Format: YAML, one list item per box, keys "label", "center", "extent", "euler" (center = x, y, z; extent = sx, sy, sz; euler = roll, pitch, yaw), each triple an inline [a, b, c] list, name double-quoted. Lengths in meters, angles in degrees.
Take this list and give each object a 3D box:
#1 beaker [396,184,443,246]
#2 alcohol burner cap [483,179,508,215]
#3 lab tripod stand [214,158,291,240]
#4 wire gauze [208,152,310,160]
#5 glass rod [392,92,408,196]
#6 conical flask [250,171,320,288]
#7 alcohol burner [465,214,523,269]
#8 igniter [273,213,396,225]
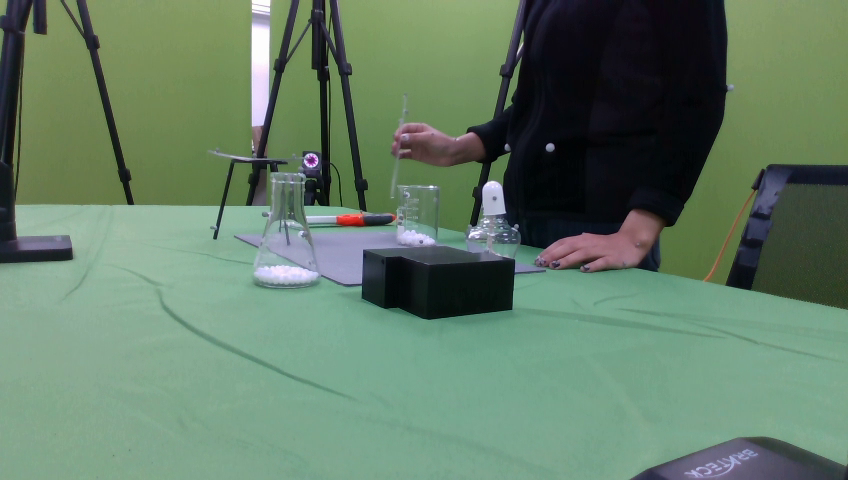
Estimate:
- label: "beaker"
  center: [-0.011, -0.043, 1.004]
  extent: [0.083, 0.100, 0.074]
  euler: [8, 9, 38]
- label: "alcohol burner cap"
  center: [0.094, -0.057, 0.810]
  extent: [0.034, 0.048, 0.034]
  euler: [-8, 6, 1]
- label: "lab tripod stand"
  center: [-0.268, -0.068, 1.002]
  extent: [0.148, 0.131, 0.148]
  euler: [3, 6, 0]
- label: "wire gauze"
  center: [-0.270, -0.135, 0.993]
  extent: [0.124, 0.011, 0.122]
  euler: [8, 8, 41]
- label: "glass rod"
  center: [-0.043, -0.178, 1.123]
  extent: [0.008, 0.199, 0.008]
  euler: [7, -7, 1]
- label: "conical flask"
  center: [-0.150, -0.013, 0.658]
  extent: [0.075, 0.122, 0.075]
  euler: [2, 7, 0]
- label: "alcohol burner"
  center: [0.094, -0.022, 0.815]
  extent: [0.078, 0.119, 0.078]
  euler: [0, 7, 0]
- label: "igniter"
  center: [-0.179, -0.044, 1.258]
  extent: [0.278, 0.025, 0.057]
  euler: [-3, -1, -39]
